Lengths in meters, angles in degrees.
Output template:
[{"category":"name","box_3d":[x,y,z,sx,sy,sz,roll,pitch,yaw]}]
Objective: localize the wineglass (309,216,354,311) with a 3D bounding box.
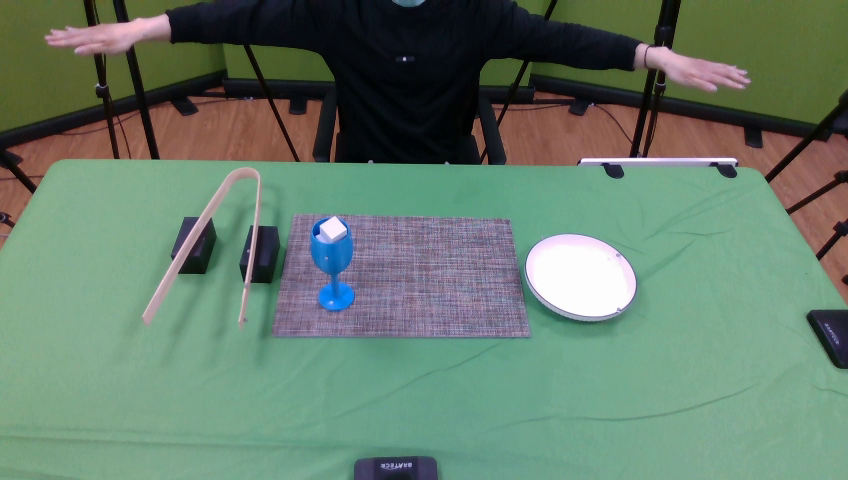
[{"category":"wineglass","box_3d":[-0.155,0.043,1.032,0.074,0.173,0.073,2,46,-2]}]

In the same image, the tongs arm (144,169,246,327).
[{"category":"tongs arm","box_3d":[-0.409,-0.002,1.100,0.028,0.028,0.385,5,45,9]}]

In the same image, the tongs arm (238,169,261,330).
[{"category":"tongs arm","box_3d":[-0.329,0.001,1.102,0.051,0.026,0.382,-2,46,-3]}]

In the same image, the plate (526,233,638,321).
[{"category":"plate","box_3d":[0.292,0.071,1.135,0.209,0.038,0.208,2,46,-2]}]
